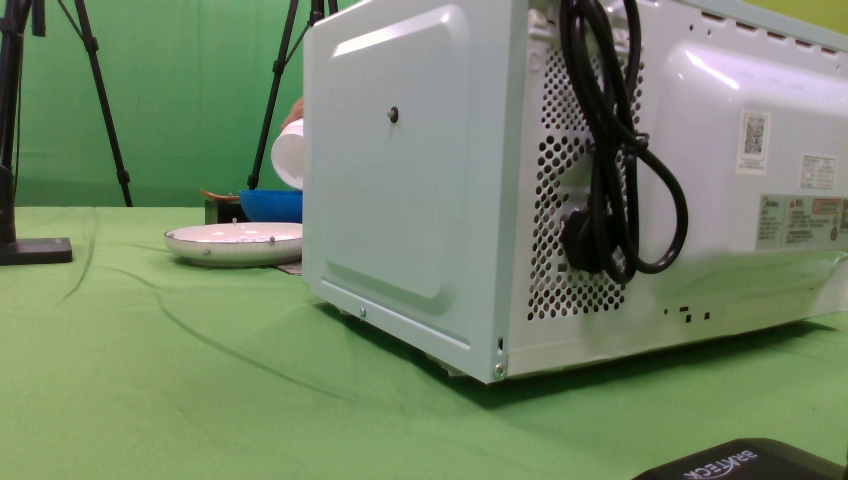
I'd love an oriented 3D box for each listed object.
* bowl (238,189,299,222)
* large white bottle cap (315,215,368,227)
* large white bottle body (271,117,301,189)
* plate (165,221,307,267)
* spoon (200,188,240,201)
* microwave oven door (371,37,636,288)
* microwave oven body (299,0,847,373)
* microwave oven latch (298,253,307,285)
[{"bbox_3d":[-0.245,-0.046,1.052,0.151,0.077,0.151,2,8,0],"label":"bowl"},{"bbox_3d":[-0.177,-0.042,1.309,0.115,0.018,0.115,2,6,0],"label":"large white bottle cap"},{"bbox_3d":[-0.198,-0.179,1.159,0.130,0.130,0.185,5,28,19],"label":"large white bottle body"},{"bbox_3d":[-0.241,0.004,0.829,0.209,0.038,0.209,0,9,0],"label":"plate"},{"bbox_3d":[-0.338,-0.080,1.190,0.194,0.021,0.041,5,3,-19],"label":"spoon"},{"bbox_3d":[0.109,-0.080,0.686,0.358,0.243,0.039,-2,9,-33],"label":"microwave oven door"},{"bbox_3d":[0.151,-0.055,0.542,0.444,0.260,0.324,-2,7,-33],"label":"microwave oven body"},{"bbox_3d":[-0.081,0.027,0.582,0.079,0.029,0.030,-1,7,-32],"label":"microwave oven latch"}]
